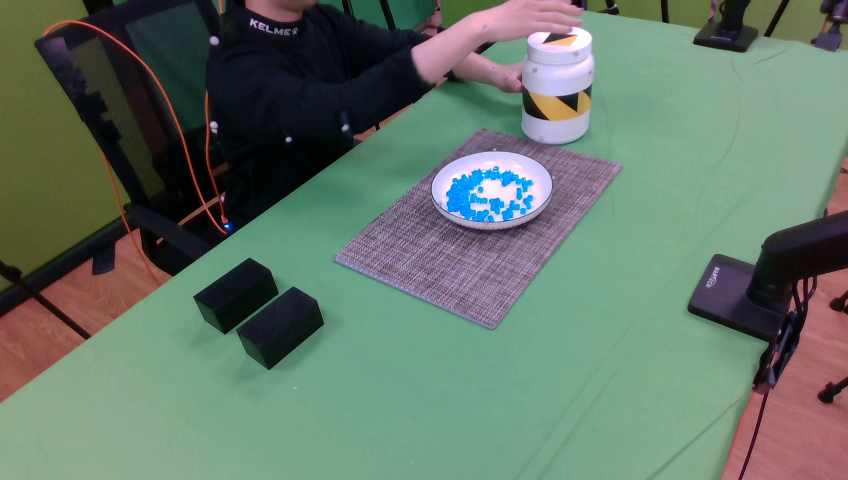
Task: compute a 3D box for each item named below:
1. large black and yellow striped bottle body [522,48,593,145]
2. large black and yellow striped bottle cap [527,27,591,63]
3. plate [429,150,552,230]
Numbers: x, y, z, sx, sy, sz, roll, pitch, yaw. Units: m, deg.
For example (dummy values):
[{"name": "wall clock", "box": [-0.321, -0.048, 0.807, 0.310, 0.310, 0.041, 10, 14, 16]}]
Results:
[{"name": "large black and yellow striped bottle body", "box": [0.251, -0.289, 1.146, 0.131, 0.185, 0.130, -4, 40, 4]}, {"name": "large black and yellow striped bottle cap", "box": [0.243, -0.354, 1.092, 0.115, 0.019, 0.114, -4, 42, 4]}, {"name": "plate", "box": [0.113, -0.082, 1.032, 0.207, 0.039, 0.206, -4, 41, 4]}]
